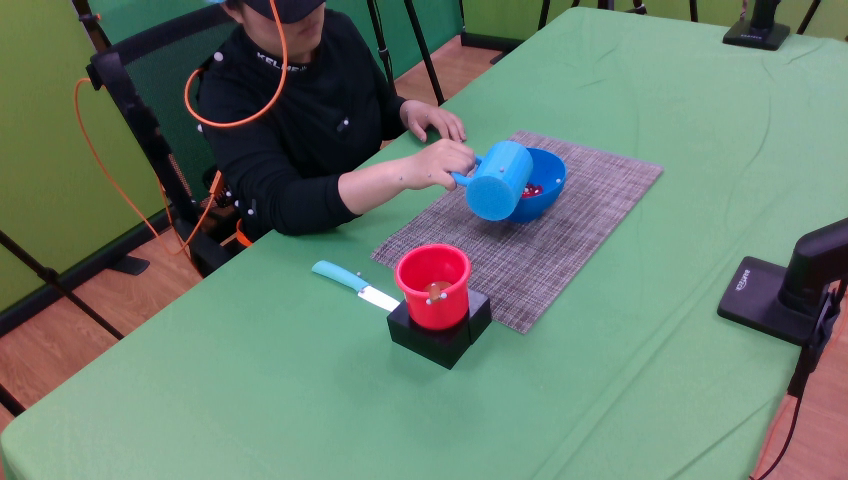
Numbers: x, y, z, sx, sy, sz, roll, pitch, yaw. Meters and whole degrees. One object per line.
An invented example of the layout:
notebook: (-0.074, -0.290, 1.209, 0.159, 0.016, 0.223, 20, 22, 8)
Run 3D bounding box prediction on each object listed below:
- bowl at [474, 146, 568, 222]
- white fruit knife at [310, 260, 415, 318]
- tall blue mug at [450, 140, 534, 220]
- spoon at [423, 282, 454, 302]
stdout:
bowl: (0.161, -0.083, 1.000, 0.151, 0.077, 0.150, -5, 40, 5)
white fruit knife: (-0.094, 0.074, 0.920, 0.206, 0.016, 0.027, 24, 77, 30)
tall blue mug: (0.101, -0.099, 0.888, 0.107, 0.077, 0.108, 39, 41, -7)
spoon: (0.015, 0.062, 0.733, 0.041, 0.021, 0.194, -6, -4, 3)
